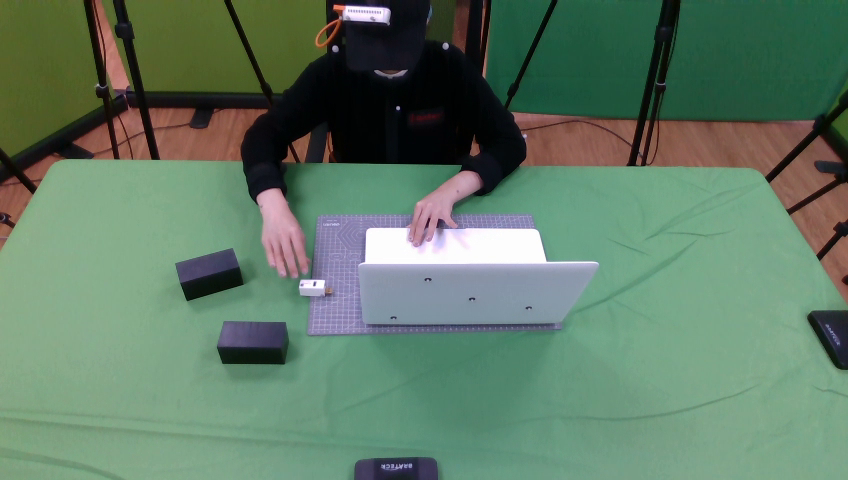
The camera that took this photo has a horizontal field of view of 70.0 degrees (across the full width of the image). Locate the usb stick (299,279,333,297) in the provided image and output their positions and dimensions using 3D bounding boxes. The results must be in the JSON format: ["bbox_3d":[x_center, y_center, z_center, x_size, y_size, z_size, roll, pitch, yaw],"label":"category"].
[{"bbox_3d":[-0.194,0.087,1.092,0.059,0.027,0.021,5,47,-3],"label":"usb stick"}]

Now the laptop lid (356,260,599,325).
[{"bbox_3d":[0.074,0.089,0.958,0.357,0.242,0.013,1,60,-5],"label":"laptop lid"}]

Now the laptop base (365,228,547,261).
[{"bbox_3d":[0.064,0.063,1.143,0.355,0.023,0.234,0,42,-4],"label":"laptop base"}]
